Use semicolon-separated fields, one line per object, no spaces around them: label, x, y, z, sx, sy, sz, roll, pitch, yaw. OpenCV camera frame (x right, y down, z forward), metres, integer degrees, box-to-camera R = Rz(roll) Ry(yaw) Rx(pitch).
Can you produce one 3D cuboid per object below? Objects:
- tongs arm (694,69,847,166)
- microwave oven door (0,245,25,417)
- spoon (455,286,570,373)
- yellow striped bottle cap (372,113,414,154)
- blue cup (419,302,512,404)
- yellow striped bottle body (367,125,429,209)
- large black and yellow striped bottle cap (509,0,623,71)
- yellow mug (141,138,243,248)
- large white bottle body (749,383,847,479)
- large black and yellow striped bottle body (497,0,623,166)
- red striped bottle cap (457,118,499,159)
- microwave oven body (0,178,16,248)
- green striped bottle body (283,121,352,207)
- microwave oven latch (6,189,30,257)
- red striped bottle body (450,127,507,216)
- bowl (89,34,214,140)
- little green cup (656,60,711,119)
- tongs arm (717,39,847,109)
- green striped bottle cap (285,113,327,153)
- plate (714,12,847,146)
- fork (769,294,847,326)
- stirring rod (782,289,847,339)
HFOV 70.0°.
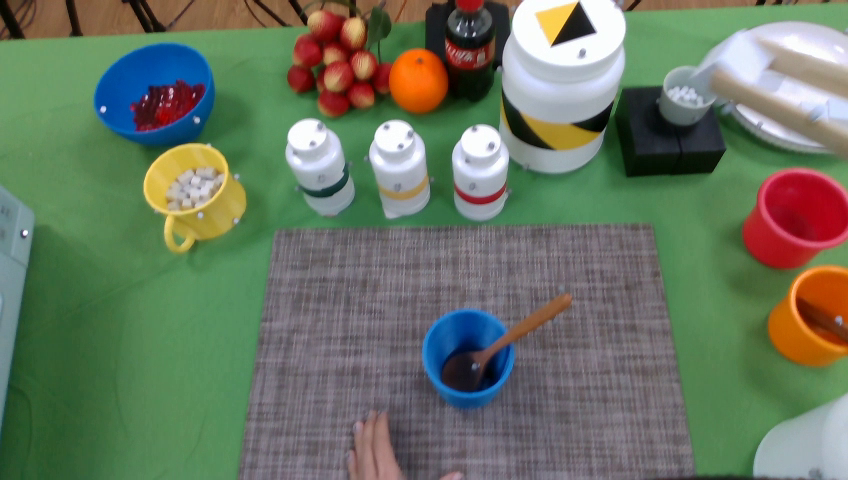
tongs arm;0.335;-0.020;0.333;0.381;0.027;0.050;39;78;27
microwave oven door;-0.468;0.128;0.531;0.039;0.246;0.352;-10;63;0
spoon;0.069;0.093;0.562;0.022;0.194;0.041;-2;60;-34
yellow striped bottle cap;-0.034;-0.115;0.653;0.044;0.019;0.044;-1;65;3
blue cup;0.041;0.120;0.595;0.092;0.101;0.092;-1;62;3
yellow striped bottle body;-0.030;-0.092;0.699;0.063;0.121;0.062;-2;63;4
large black and yellow striped bottle cap;0.146;-0.223;0.623;0.115;0.019;0.114;-2;62;4
yellow mug;-0.281;-0.051;0.726;0.100;0.064;0.130;8;65;7
large white bottle body;0.367;0.187;0.495;0.130;0.186;0.129;-2;63;4
large black and yellow striped bottle body;0.152;-0.186;0.698;0.131;0.185;0.129;-2;63;4
red striped bottle cap;0.058;-0.108;0.642;0.044;0.018;0.044;1;62;-1
microwave oven body;-0.617;0.117;0.552;0.326;0.262;0.437;-9;64;-1
green striped bottle body;-0.124;-0.093;0.707;0.063;0.120;0.062;-1;63;3
microwave oven latch;-0.492;-0.019;0.719;0.030;0.030;0.078;-8;64;0
red striped bottle body;0.063;-0.083;0.689;0.063;0.121;0.062;-4;61;7
bowl;-0.339;-0.184;0.790;0.151;0.077;0.150;-1;64;3
little green cup;0.302;-0.174;0.708;0.061;0.039;0.061;-1;62;2
tongs arm;0.349;-0.036;0.338;0.384;0.028;0.028;33;72;26
green striped bottle cap;-0.129;-0.117;0.660;0.044;0.020;0.044;-1;62;3
plate;0.471;-0.200;0.766;0.209;0.038;0.207;-1;64;3
fork;0.423;0.085;0.563;0.028;0.019;0.205;-33;21;-18
stirring rod;0.395;0.085;0.571;0.014;0.006;0.175;-7;20;-1
